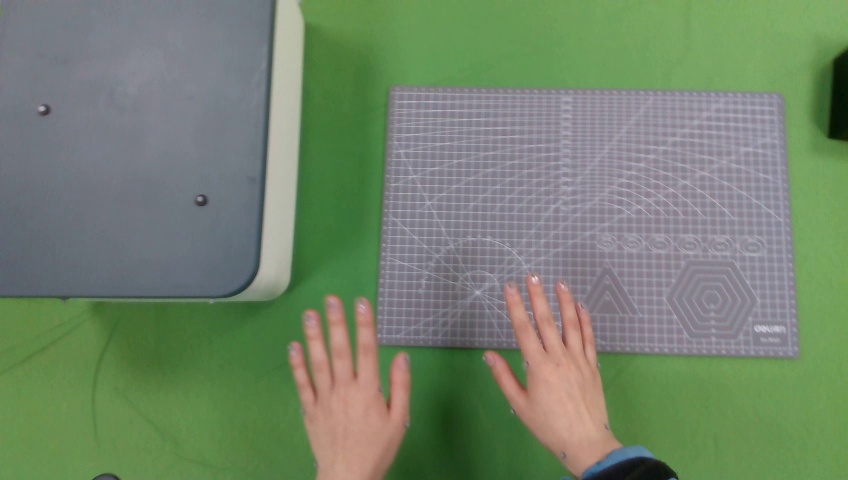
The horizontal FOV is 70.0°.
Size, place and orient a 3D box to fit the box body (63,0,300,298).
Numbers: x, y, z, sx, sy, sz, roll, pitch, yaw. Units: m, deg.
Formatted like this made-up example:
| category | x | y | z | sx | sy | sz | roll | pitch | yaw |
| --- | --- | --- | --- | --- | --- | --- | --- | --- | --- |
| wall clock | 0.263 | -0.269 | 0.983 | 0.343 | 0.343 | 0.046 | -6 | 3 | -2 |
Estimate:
| category | x | y | z | sx | sy | sz | roll | pitch | yaw |
| --- | --- | --- | --- | --- | --- | --- | --- | --- | --- |
| box body | -0.269 | -0.120 | 0.620 | 0.254 | 0.161 | 0.362 | 0 | 80 | 1 |

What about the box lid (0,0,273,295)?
| category | x | y | z | sx | sy | sz | roll | pitch | yaw |
| --- | --- | --- | --- | --- | --- | --- | --- | --- | --- |
| box lid | -0.271 | -0.136 | 0.548 | 0.263 | 0.015 | 0.370 | 0 | 81 | 2 |
